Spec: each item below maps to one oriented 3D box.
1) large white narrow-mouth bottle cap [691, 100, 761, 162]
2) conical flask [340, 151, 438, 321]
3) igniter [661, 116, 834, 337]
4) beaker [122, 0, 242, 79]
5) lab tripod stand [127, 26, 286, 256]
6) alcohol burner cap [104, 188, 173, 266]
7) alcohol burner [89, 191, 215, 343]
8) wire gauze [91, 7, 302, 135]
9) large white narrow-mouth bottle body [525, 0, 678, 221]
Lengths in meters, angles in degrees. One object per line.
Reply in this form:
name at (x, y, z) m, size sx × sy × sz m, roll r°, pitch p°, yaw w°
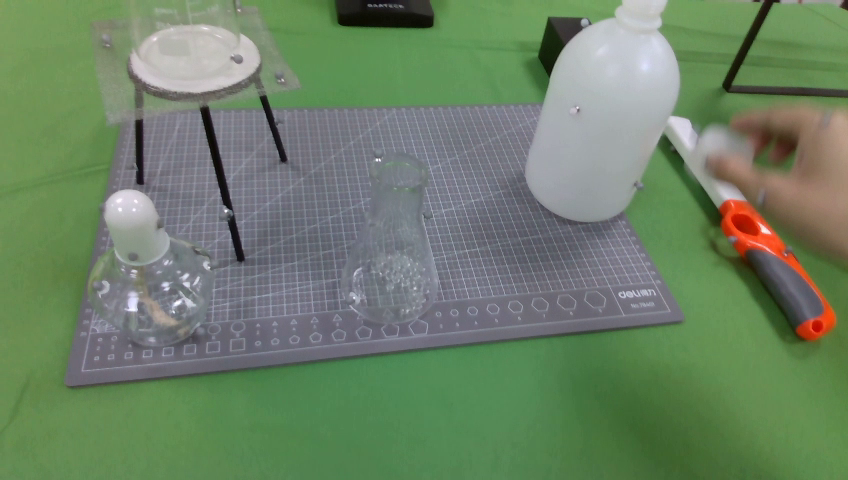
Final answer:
large white narrow-mouth bottle cap at (0.191, -0.069, 0.385) m, size 0.038 × 0.024 × 0.037 m, roll 4°, pitch 47°, yaw -4°
conical flask at (-0.022, -0.004, 0.427) m, size 0.075 × 0.123 × 0.074 m, roll 4°, pitch 47°, yaw -4°
igniter at (0.289, -0.026, 0.561) m, size 0.057 × 0.025 × 0.273 m, roll 5°, pitch 46°, yaw -19°
beaker at (-0.159, -0.162, 0.387) m, size 0.084 × 0.101 × 0.073 m, roll -9°, pitch 51°, yaw -16°
lab tripod stand at (-0.163, -0.081, 0.469) m, size 0.148 × 0.132 × 0.147 m, roll 6°, pitch 47°, yaw -6°
alcohol burner cap at (-0.174, -0.010, 0.366) m, size 0.034 × 0.048 × 0.033 m, roll 4°, pitch 53°, yaw -5°
alcohol burner at (-0.178, 0.013, 0.393) m, size 0.078 × 0.120 × 0.077 m, roll 6°, pitch 45°, yaw -5°
wire gauze at (-0.160, -0.127, 0.422) m, size 0.122 × 0.011 × 0.123 m, roll -16°, pitch 55°, yaw -20°
large white narrow-mouth bottle body at (0.151, -0.114, 0.504) m, size 0.102 × 0.196 × 0.101 m, roll 4°, pitch 47°, yaw -4°
